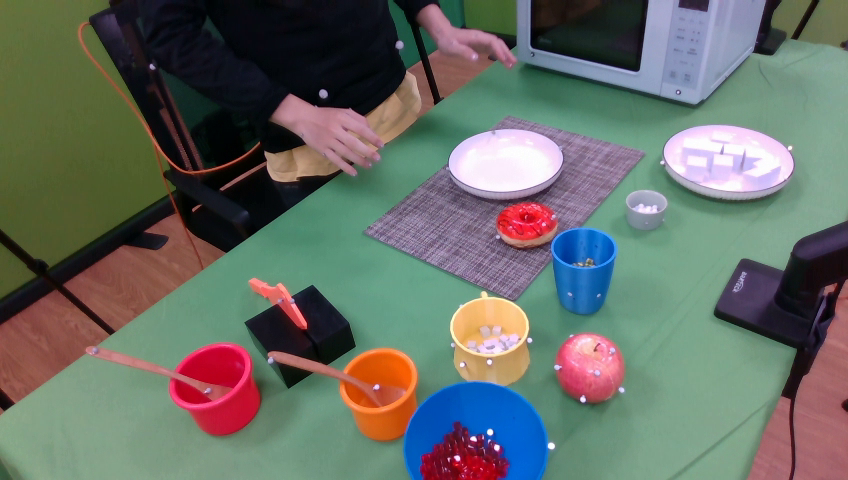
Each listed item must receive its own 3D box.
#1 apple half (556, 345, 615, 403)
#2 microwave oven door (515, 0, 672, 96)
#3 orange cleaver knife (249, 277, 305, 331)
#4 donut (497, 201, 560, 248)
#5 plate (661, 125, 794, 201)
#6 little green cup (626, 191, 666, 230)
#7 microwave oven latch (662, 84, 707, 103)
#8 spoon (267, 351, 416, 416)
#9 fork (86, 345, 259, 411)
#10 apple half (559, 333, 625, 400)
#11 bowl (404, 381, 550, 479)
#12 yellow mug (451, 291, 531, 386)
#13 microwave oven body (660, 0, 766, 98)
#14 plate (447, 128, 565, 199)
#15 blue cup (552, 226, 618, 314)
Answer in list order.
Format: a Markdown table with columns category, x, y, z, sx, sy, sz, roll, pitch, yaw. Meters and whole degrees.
| category | x | y | z | sx | sy | sz | roll | pitch | yaw |
| --- | --- | --- | --- | --- | --- | --- | --- | --- | --- |
| apple half | 0.181 | 0.167 | 0.709 | 0.080 | 0.081 | 0.033 | 29 | 49 | 35 |
| microwave oven door | 0.343 | -0.455 | 1.259 | 0.353 | 0.245 | 0.039 | 26 | 51 | 33 |
| orange cleaver knife | -0.210 | 0.088 | 0.855 | 0.012 | 0.077 | 0.210 | -28 | 15 | -25 |
| donut | 0.165 | -0.026 | 0.958 | 0.099 | 0.048 | 0.098 | -5 | 38 | 5 |
| plate | 0.513 | -0.128 | 1.035 | 0.207 | 0.039 | 0.206 | -4 | 40 | 4 |
| little green cup | 0.352 | -0.046 | 0.963 | 0.061 | 0.039 | 0.061 | -4 | 40 | 4 |
| microwave oven latch | 0.517 | -0.296 | 1.204 | 0.078 | 0.029 | 0.030 | 27 | 52 | 35 |
| spoon | -0.090 | 0.162 | 0.699 | 0.021 | 0.195 | 0.041 | -44 | 30 | 27 |
| fork | -0.298 | 0.166 | 0.728 | 0.209 | 0.018 | 0.028 | 28 | 47 | -23 |
| apple half | 0.209 | 0.147 | 0.730 | 0.080 | 0.075 | 0.053 | 26 | 48 | 38 |
| bowl | 0.058 | 0.235 | 0.645 | 0.151 | 0.077 | 0.150 | -4 | 39 | 4 |
| yellow mug | 0.085 | 0.120 | 0.786 | 0.100 | 0.064 | 0.130 | -7 | 39 | 1 |
| microwave oven body | 0.472 | -0.513 | 1.317 | 0.438 | 0.261 | 0.327 | 26 | 51 | 34 |
| plate | 0.147 | -0.134 | 1.092 | 0.209 | 0.038 | 0.208 | -4 | 40 | 4 |
| blue cup | 0.218 | 0.047 | 0.826 | 0.092 | 0.101 | 0.092 | -6 | 40 | 5 |
